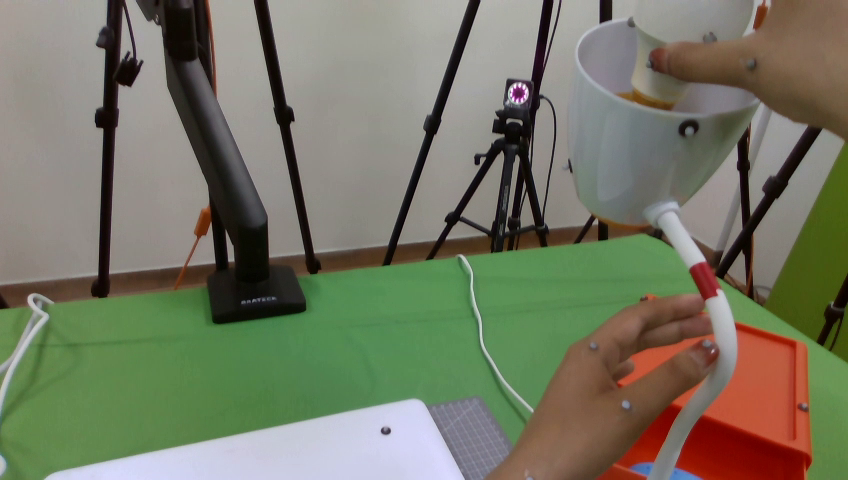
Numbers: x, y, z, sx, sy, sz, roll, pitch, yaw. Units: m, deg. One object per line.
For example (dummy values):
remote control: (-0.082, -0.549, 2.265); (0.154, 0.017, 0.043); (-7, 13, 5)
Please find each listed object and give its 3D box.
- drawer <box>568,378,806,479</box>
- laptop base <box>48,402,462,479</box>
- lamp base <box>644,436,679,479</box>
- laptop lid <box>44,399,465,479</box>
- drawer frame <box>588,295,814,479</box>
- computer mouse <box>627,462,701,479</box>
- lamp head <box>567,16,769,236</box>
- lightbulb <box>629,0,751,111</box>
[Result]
drawer: (0.263, 0.209, 0.599); (0.193, 0.074, 0.211); (16, 28, 22)
laptop base: (-0.126, 0.251, 0.502); (0.356, 0.023, 0.233); (-6, 32, -22)
lamp base: (0.152, 0.236, 0.401); (0.161, 0.181, 0.177); (4, 24, -7)
laptop lid: (-0.124, 0.241, 0.495); (0.358, 0.013, 0.239); (-5, 31, -20)
drawer frame: (0.315, 0.166, 0.688); (0.200, 0.083, 0.213); (17, 28, 23)
computer mouse: (0.239, 0.244, 0.553); (0.116, 0.041, 0.062); (17, 28, 15)
lamp head: (0.145, -0.064, 0.393); (0.112, 0.124, 0.111); (0, 42, 1)
lightbulb: (0.142, -0.108, 0.345); (0.059, 0.108, 0.059); (5, 43, -4)
